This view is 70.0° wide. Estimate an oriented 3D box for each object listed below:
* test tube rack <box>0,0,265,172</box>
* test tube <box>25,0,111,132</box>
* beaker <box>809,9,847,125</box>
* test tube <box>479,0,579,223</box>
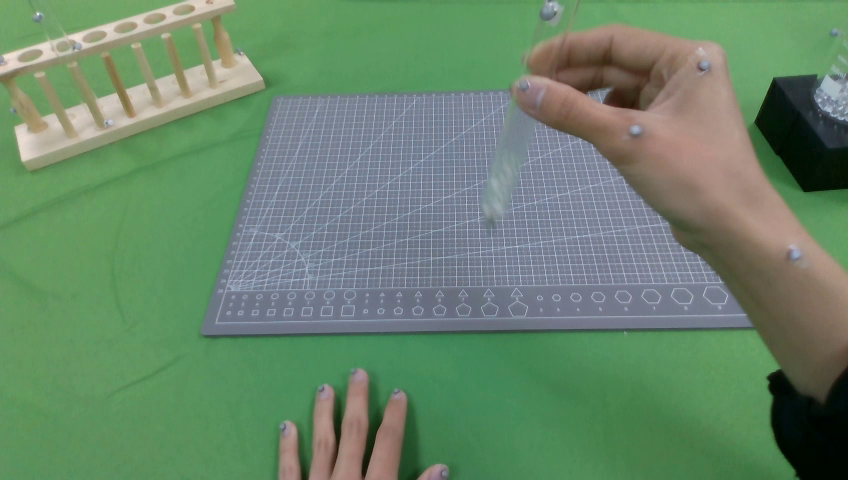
[{"bbox_3d":[-0.295,-0.161,0.607,0.242,0.086,0.066,-25,52,-18],"label":"test tube rack"},{"bbox_3d":[-0.323,-0.163,0.550,0.017,0.152,0.017,-2,46,2],"label":"test tube"},{"bbox_3d":[0.361,-0.149,0.483,0.074,0.101,0.083,-22,50,-15],"label":"beaker"},{"bbox_3d":[0.051,-0.071,0.287,0.017,0.151,0.017,10,35,-7],"label":"test tube"}]
